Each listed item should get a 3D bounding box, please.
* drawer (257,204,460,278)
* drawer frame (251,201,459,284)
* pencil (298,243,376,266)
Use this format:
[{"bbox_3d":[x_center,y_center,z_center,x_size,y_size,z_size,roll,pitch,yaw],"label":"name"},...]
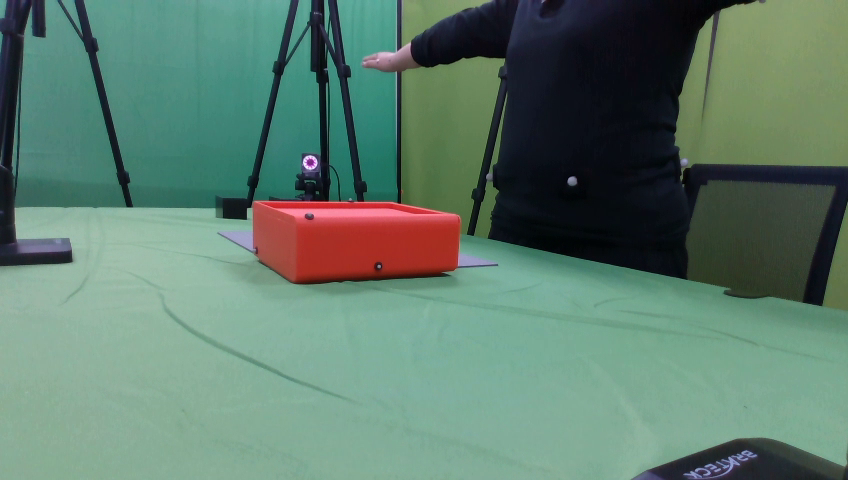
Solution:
[{"bbox_3d":[-0.090,-0.004,0.793,0.213,0.073,0.193,-3,10,-29],"label":"drawer"},{"bbox_3d":[-0.095,-0.005,0.788,0.215,0.082,0.200,-3,10,-30],"label":"drawer frame"},{"bbox_3d":[-0.107,0.016,0.791,0.012,0.012,0.195,6,8,22],"label":"pencil"}]
